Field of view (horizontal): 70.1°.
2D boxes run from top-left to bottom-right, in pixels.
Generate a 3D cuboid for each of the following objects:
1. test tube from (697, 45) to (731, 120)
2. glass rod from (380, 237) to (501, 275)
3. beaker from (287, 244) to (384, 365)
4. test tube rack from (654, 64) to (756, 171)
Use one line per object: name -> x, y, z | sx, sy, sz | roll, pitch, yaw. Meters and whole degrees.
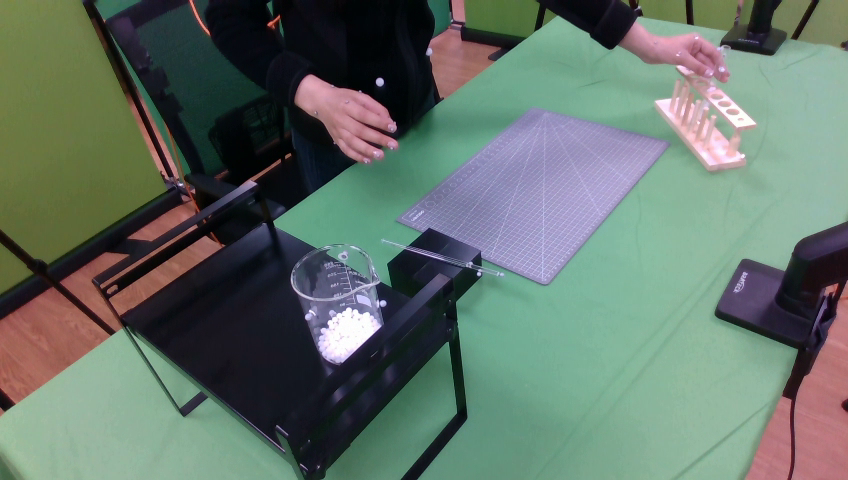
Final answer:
test tube -> 0.524, -0.281, 1.095 | 0.017, 0.151, 0.017 | 0, 44, 1
glass rod -> 0.020, 0.023, 0.881 | 0.198, 0.008, 0.008 | 16, 46, 25
beaker -> -0.076, 0.064, 0.575 | 0.083, 0.101, 0.074 | 6, 43, 15
test tube rack -> 0.510, -0.233, 1.120 | 0.067, 0.085, 0.241 | -9, 40, -1
